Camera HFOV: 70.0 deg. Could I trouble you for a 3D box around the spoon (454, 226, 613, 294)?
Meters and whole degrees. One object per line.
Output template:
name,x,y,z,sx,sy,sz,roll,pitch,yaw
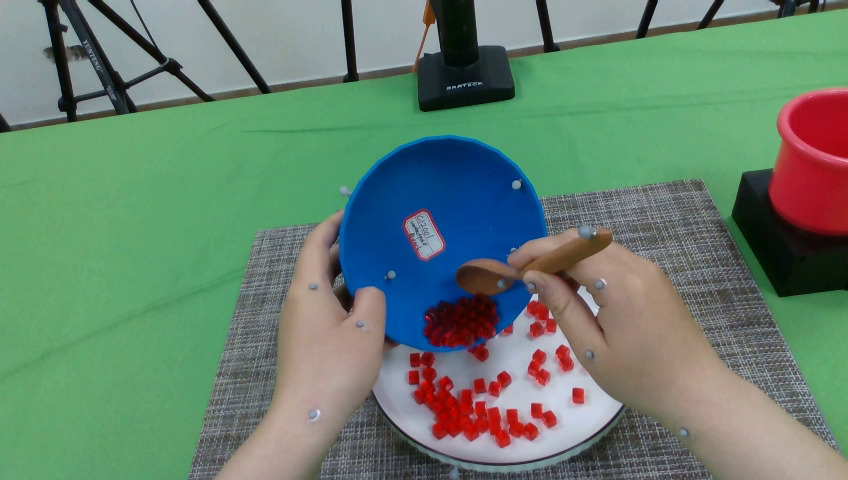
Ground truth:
spoon,0.061,0.016,0.368,0.042,0.193,0.021,23,78,-10

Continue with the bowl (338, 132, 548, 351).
bowl,0.007,-0.001,0.448,0.151,0.152,0.076,-24,11,-13

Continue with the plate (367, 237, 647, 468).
plate,0.061,0.079,0.466,0.207,0.039,0.205,-6,45,6
